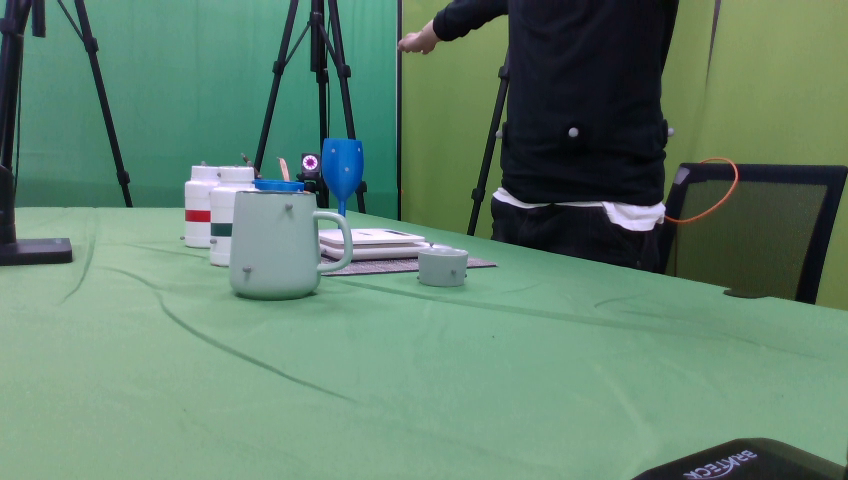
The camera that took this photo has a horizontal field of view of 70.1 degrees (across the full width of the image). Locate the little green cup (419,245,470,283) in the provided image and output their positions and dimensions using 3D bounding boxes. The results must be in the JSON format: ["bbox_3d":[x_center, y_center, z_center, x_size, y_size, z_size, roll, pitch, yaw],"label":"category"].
[{"bbox_3d":[0.023,0.028,0.713,0.061,0.038,0.061,1,6,0],"label":"little green cup"}]

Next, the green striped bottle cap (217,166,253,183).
[{"bbox_3d":[-0.242,-0.085,0.777,0.044,0.020,0.044,2,9,0],"label":"green striped bottle cap"}]

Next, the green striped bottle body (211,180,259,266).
[{"bbox_3d":[-0.243,-0.029,0.784,0.063,0.119,0.063,2,7,0],"label":"green striped bottle body"}]

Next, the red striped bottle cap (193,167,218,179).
[{"bbox_3d":[-0.329,-0.103,0.921,0.044,0.017,0.044,-1,9,0],"label":"red striped bottle cap"}]

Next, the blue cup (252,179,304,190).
[{"bbox_3d":[-0.230,-0.040,0.929,0.093,0.100,0.092,4,6,0],"label":"blue cup"}]

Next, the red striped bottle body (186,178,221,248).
[{"bbox_3d":[-0.331,-0.050,0.927,0.063,0.119,0.063,2,7,0],"label":"red striped bottle body"}]

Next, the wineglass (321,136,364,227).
[{"bbox_3d":[-0.138,-0.086,1.020,0.074,0.172,0.073,2,7,0],"label":"wineglass"}]

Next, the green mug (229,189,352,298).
[{"bbox_3d":[-0.135,0.002,0.618,0.125,0.105,0.092,2,7,4],"label":"green mug"}]

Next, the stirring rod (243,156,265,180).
[{"bbox_3d":[-0.304,-0.099,1.201,0.006,0.177,0.014,-26,37,8],"label":"stirring rod"}]

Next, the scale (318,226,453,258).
[{"bbox_3d":[-0.066,0.001,0.906,0.202,0.031,0.148,-2,8,-31],"label":"scale"}]

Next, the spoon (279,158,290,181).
[{"bbox_3d":[-0.280,-0.102,1.251,0.042,0.193,0.021,7,-40,-30],"label":"spoon"}]
